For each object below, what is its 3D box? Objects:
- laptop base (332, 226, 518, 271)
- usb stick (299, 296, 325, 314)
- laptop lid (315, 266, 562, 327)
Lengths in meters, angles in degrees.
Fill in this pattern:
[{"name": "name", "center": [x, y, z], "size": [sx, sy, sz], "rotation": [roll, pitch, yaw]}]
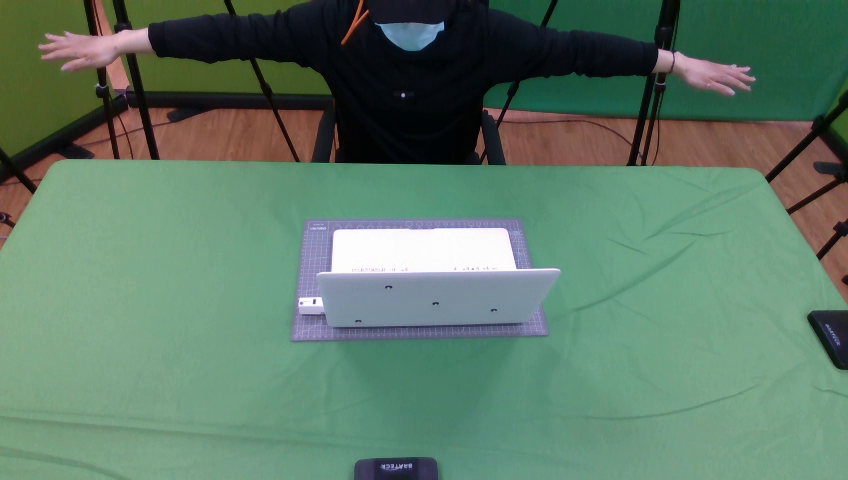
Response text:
[{"name": "laptop base", "center": [0.004, 0.062, 1.136], "size": [0.355, 0.023, 0.234], "rotation": [-1, 43, -4]}, {"name": "usb stick", "center": [-0.187, 0.114, 1.058], "size": [0.059, 0.027, 0.021], "rotation": [2, 45, -4]}, {"name": "laptop lid", "center": [0.018, 0.094, 0.949], "size": [0.357, 0.242, 0.013], "rotation": [0, 64, -6]}]
